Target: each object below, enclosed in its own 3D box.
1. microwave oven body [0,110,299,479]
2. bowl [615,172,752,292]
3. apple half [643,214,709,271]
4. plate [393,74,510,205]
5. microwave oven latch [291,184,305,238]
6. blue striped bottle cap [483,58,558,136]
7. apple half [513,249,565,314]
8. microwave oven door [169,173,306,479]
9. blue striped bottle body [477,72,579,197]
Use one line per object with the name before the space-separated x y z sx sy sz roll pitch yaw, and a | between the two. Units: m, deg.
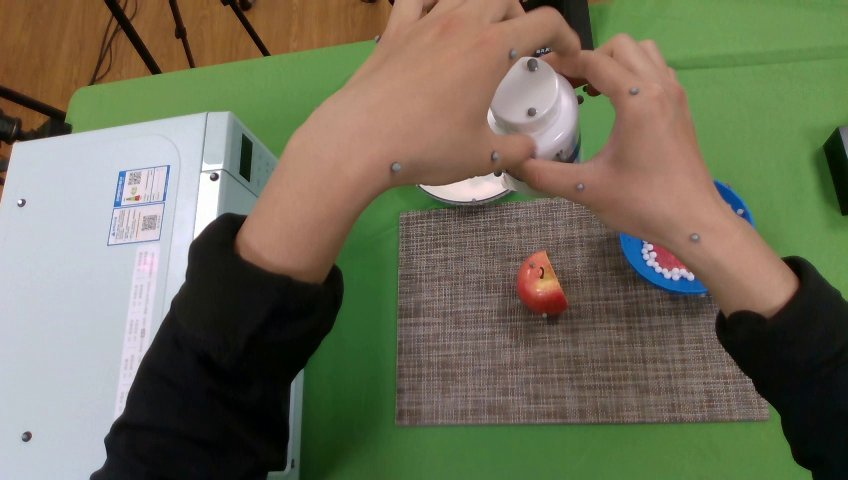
microwave oven body | -0.351 0.107 0.770 0.325 0.262 0.438 -6 71 11
bowl | 0.312 0.000 0.749 0.151 0.077 0.150 -4 70 13
apple half | 0.312 -0.001 0.744 0.081 0.033 0.080 -4 68 12
plate | 0.059 -0.144 0.886 0.207 0.039 0.206 -4 71 11
microwave oven latch | -0.190 -0.042 0.889 0.030 0.030 0.078 -6 71 11
blue striped bottle cap | 0.059 -0.087 0.371 0.044 0.021 0.044 -4 76 15
apple half | 0.141 0.059 0.772 0.053 0.075 0.080 -24 71 8
microwave oven door | -0.209 0.129 0.723 0.039 0.246 0.353 -6 70 12
blue striped bottle body | 0.074 -0.076 0.422 0.063 0.121 0.063 -4 77 16
